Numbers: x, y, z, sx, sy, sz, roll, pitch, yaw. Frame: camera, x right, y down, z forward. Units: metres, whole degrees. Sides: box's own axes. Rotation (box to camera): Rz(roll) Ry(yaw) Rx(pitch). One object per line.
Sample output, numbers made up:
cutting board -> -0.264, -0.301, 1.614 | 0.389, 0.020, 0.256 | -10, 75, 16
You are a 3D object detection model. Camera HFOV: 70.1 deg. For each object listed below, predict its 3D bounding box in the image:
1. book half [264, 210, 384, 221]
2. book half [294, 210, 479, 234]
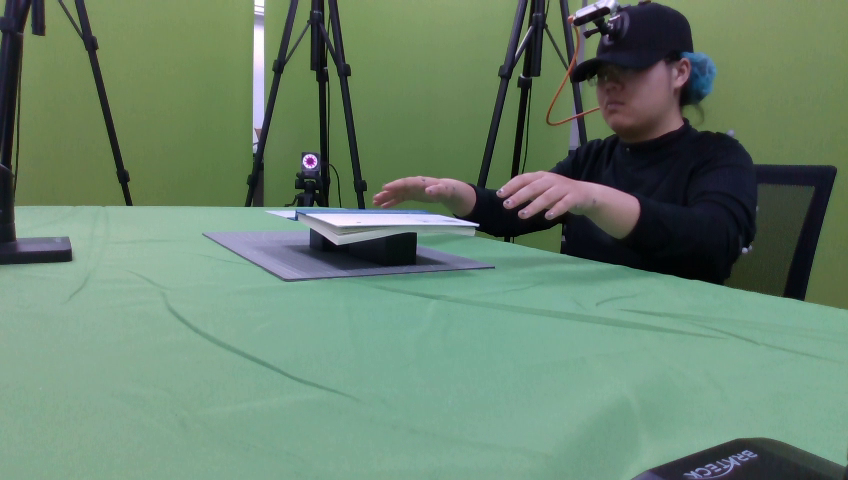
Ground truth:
book half -> -0.125, -0.038, 0.944 | 0.211, 0.007, 0.142 | -2, 9, -32
book half -> -0.051, -0.025, 0.823 | 0.211, 0.016, 0.148 | -1, 9, -32
